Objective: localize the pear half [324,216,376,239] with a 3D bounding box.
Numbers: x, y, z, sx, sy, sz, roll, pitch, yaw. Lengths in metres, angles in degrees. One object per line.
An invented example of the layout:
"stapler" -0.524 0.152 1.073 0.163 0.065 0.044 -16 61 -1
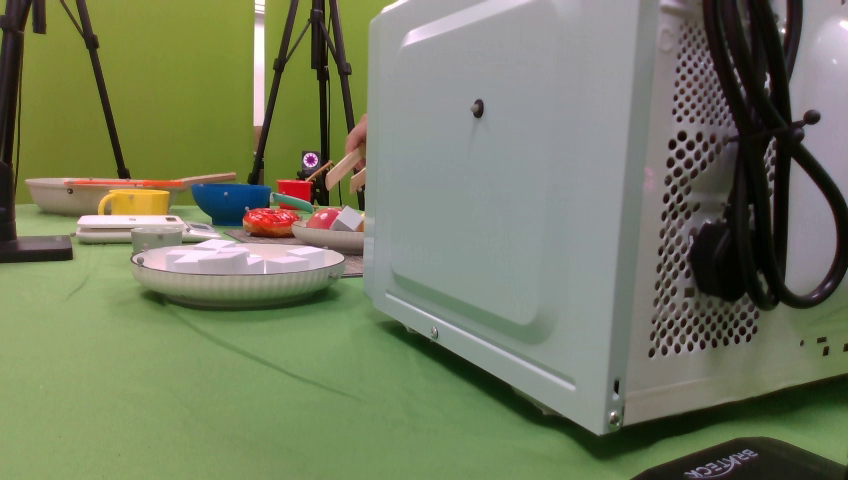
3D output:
"pear half" -0.119 -0.023 0.996 0.088 0.031 0.070 -5 23 -29

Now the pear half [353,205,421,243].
"pear half" -0.051 -0.024 0.905 0.110 0.056 0.076 1 -2 -38

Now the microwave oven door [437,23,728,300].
"microwave oven door" 0.180 -0.072 0.621 0.358 0.243 0.039 -2 8 -29

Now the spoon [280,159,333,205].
"spoon" -0.317 -0.159 1.640 0.194 0.022 0.041 -49 32 -20

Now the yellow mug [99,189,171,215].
"yellow mug" -0.519 -0.055 1.080 0.099 0.064 0.131 6 9 26

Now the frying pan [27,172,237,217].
"frying pan" -0.624 -0.118 1.387 0.305 0.102 0.490 8 17 32

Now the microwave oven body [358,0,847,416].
"microwave oven body" 0.211 -0.047 0.475 0.444 0.260 0.324 -1 7 -28

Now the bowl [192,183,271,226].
"bowl" -0.382 -0.071 1.202 0.151 0.077 0.151 3 7 0

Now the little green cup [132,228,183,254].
"little green cup" -0.342 0.006 0.779 0.061 0.038 0.061 2 8 0

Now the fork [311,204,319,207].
"fork" -0.356 -0.105 1.526 0.208 0.018 0.028 16 -5 -41

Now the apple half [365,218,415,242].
"apple half" -0.053 -0.019 0.967 0.081 0.033 0.081 -2 12 1

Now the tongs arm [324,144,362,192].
"tongs arm" -0.097 -0.152 1.041 0.028 0.028 0.388 0 22 13

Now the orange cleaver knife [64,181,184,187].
"orange cleaver knife" -0.595 -0.114 1.212 0.212 0.012 0.077 -3 7 -41

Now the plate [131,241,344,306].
"plate" -0.187 0.033 0.625 0.208 0.039 0.207 2 8 0

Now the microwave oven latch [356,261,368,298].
"microwave oven latch" -0.019 0.033 0.530 0.079 0.029 0.030 -1 7 -27

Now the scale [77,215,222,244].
"scale" -0.434 -0.019 0.963 0.202 0.031 0.148 -1 9 -27

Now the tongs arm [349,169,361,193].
"tongs arm" -0.073 -0.150 1.037 0.050 0.026 0.385 5 23 16

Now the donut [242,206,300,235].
"donut" -0.262 -0.032 1.039 0.099 0.048 0.099 4 10 0

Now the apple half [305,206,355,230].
"apple half" -0.138 -0.024 0.916 0.081 0.053 0.074 0 10 -43

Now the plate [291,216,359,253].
"plate" -0.103 -0.009 0.945 0.209 0.038 0.209 2 7 0

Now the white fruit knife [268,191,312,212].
"white fruit knife" -0.364 -0.105 1.464 0.208 0.027 0.016 15 -1 -34
